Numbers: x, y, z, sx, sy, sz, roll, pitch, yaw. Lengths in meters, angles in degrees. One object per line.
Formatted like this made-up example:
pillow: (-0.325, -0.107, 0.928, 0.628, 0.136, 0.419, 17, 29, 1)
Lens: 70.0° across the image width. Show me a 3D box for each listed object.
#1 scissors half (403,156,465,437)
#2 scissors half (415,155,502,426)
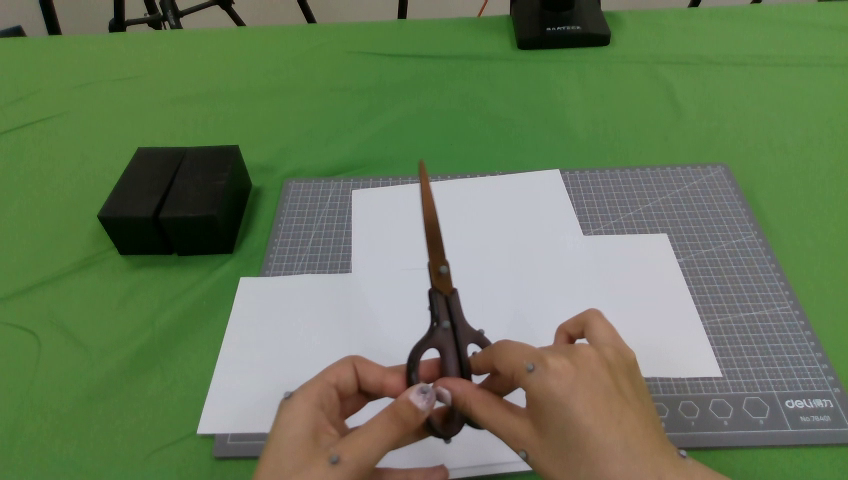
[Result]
scissors half: (0.002, 0.029, 0.370, 0.040, 0.013, 0.174, 11, 69, -40)
scissors half: (0.018, 0.029, 0.382, 0.040, 0.013, 0.175, -12, 84, -39)
